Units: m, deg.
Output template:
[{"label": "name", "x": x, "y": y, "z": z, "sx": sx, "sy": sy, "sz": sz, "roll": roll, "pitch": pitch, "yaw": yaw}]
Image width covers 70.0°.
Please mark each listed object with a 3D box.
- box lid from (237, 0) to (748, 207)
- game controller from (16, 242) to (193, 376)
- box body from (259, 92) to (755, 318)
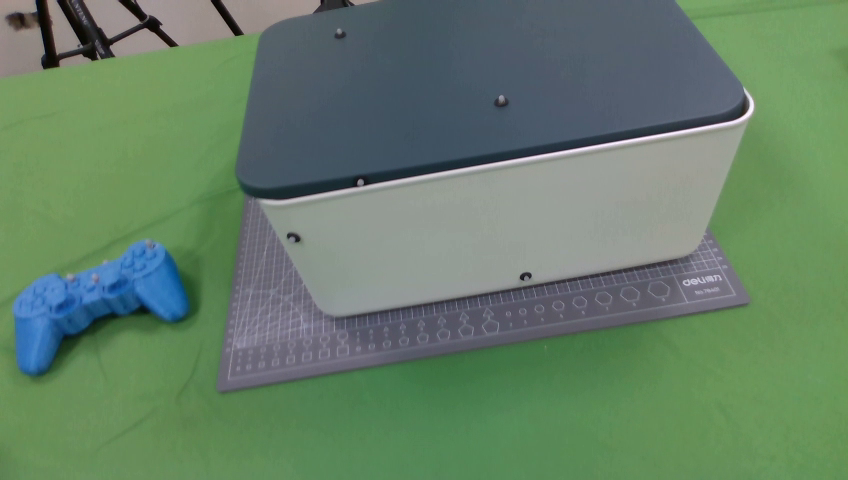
[{"label": "box lid", "x": 0.033, "y": -0.146, "z": 0.501, "sx": 0.371, "sy": 0.015, "sz": 0.260, "roll": -11, "pitch": 46, "yaw": 2}, {"label": "game controller", "x": -0.303, "y": 0.055, "z": 0.569, "sx": 0.155, "sy": 0.052, "sz": 0.096, "roll": -20, "pitch": 44, "yaw": -9}, {"label": "box body", "x": 0.054, "y": -0.089, "z": 0.553, "sx": 0.364, "sy": 0.162, "sz": 0.251, "roll": -10, "pitch": 47, "yaw": 1}]
